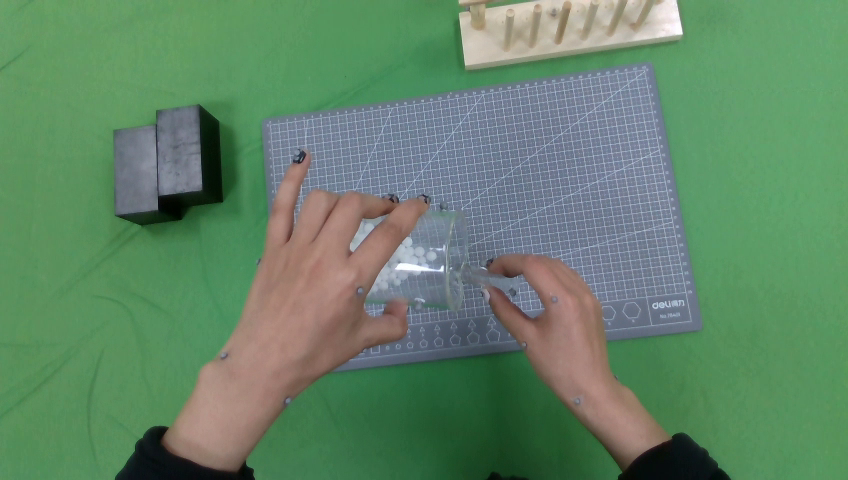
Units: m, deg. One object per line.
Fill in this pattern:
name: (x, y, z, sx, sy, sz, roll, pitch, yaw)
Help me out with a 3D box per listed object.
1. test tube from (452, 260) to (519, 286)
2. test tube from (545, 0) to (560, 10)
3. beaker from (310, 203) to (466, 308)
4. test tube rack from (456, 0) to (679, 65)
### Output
test tube: (0.059, 0.031, 0.537, 0.017, 0.151, 0.017, -3, 83, 24)
test tube: (0.139, -0.280, 0.611, 0.017, 0.151, 0.017, -1, 77, 3)
beaker: (-0.024, 0.010, 0.444, 0.100, 0.084, 0.073, 3, 74, 13)
test tube rack: (0.157, -0.255, 0.655, 0.242, 0.085, 0.066, -7, 80, 5)
